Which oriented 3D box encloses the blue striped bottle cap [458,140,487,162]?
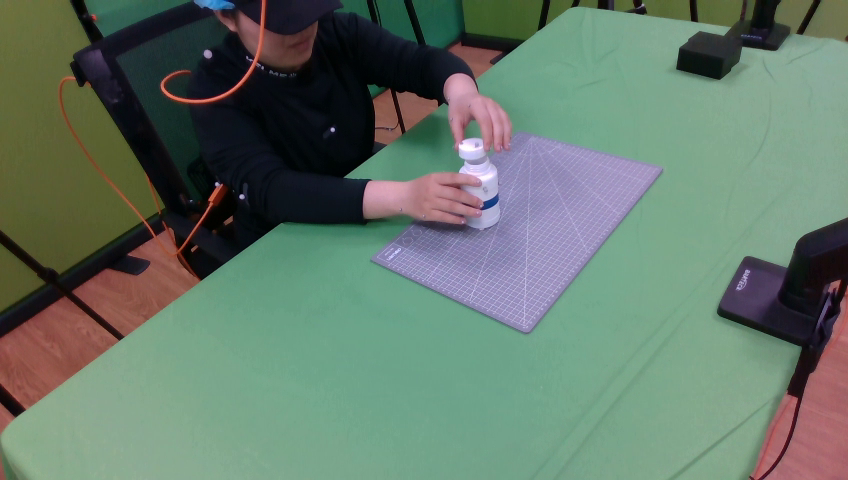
[{"bbox_3d":[0.076,-0.140,0.944,0.044,0.021,0.044,-3,31,3],"label":"blue striped bottle cap"}]

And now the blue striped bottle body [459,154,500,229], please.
[{"bbox_3d":[0.091,-0.083,0.982,0.063,0.121,0.063,-5,40,5],"label":"blue striped bottle body"}]
